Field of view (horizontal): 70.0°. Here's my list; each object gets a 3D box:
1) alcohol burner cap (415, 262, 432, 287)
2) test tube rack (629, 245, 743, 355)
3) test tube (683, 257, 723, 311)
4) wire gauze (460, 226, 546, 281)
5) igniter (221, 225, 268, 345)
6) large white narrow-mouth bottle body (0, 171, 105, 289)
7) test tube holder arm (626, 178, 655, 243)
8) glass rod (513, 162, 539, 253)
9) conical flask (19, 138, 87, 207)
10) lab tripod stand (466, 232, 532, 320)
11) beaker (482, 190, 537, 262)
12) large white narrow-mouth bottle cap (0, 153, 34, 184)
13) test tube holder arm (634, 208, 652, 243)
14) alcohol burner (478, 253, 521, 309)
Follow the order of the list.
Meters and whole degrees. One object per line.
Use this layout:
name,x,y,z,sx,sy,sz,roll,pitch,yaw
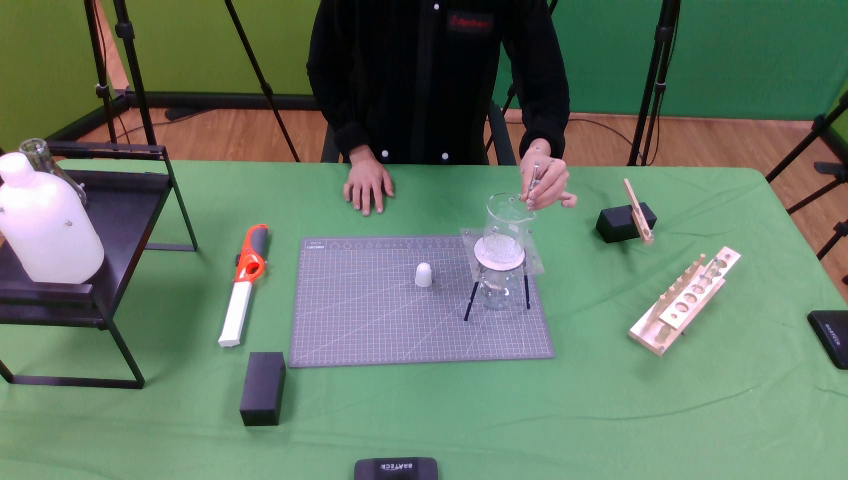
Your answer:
alcohol burner cap,0.000,0.061,1.119,0.034,0.048,0.033,2,45,-2
test tube rack,0.474,0.095,1.091,0.242,0.085,0.066,-34,56,-31
test tube,0.475,0.080,1.037,0.017,0.151,0.017,1,51,-1
wire gauze,0.130,0.017,1.016,0.121,0.011,0.124,-3,43,-9
igniter,-0.323,0.072,1.100,0.057,0.025,0.274,-6,45,5
large white narrow-mouth bottle body,-0.513,-0.029,0.818,0.102,0.195,0.101,2,46,-2
test tube holder arm,0.434,-0.062,1.220,0.013,0.015,0.177,3,47,-4
glass rod,0.155,-0.044,0.927,0.008,0.201,0.008,2,50,-2
conical flask,-0.576,-0.097,0.930,0.075,0.122,0.075,2,46,-2
lab tripod stand,0.125,0.060,1.065,0.148,0.132,0.147,1,45,0
beaker,0.136,-0.019,0.983,0.084,0.101,0.073,17,47,14
large white narrow-mouth bottle cap,-0.510,-0.089,0.755,0.038,0.024,0.037,2,46,-2
test tube holder arm,0.428,-0.030,1.189,0.010,0.015,0.087,3,47,-3
alcohol burner,0.134,0.067,1.072,0.078,0.120,0.077,0,47,0
